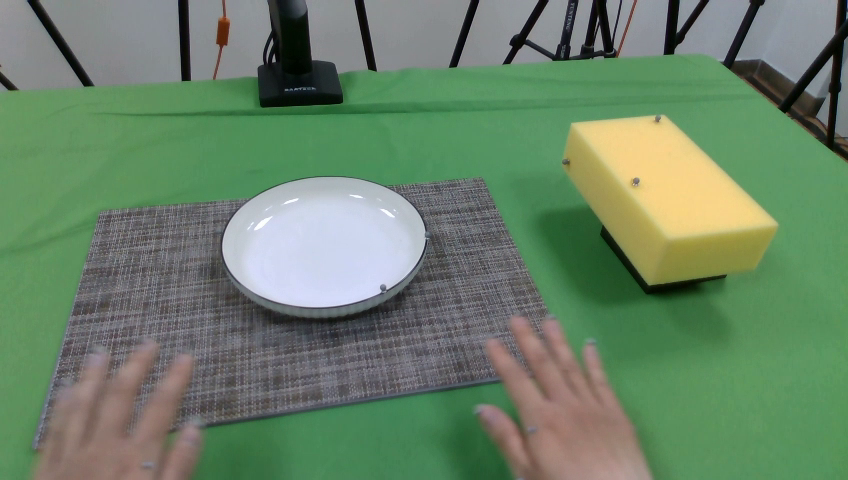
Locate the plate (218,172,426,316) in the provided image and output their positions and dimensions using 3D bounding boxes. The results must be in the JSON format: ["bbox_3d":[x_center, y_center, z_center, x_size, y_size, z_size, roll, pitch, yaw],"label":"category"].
[{"bbox_3d":[-0.102,0.004,0.629,0.208,0.039,0.205,3,42,-2],"label":"plate"}]

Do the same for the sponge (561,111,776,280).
[{"bbox_3d":[0.243,-0.056,0.636,0.118,0.061,0.204,-8,43,-13],"label":"sponge"}]
